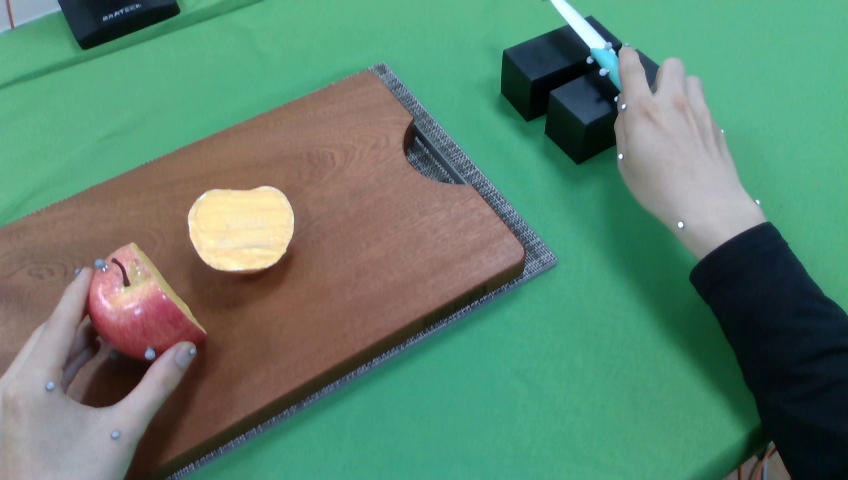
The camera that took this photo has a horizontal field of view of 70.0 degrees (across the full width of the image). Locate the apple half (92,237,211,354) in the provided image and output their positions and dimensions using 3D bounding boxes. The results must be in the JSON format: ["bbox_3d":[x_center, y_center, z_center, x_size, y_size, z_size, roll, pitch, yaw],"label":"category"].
[{"bbox_3d":[-0.191,0.046,0.415,0.053,0.075,0.080,-40,66,-16],"label":"apple half"}]

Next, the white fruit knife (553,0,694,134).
[{"bbox_3d":[0.160,-0.166,0.531,0.027,0.016,0.205,-16,59,-26],"label":"white fruit knife"}]

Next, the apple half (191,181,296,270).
[{"bbox_3d":[-0.138,-0.007,0.471,0.081,0.033,0.080,4,65,-8],"label":"apple half"}]
